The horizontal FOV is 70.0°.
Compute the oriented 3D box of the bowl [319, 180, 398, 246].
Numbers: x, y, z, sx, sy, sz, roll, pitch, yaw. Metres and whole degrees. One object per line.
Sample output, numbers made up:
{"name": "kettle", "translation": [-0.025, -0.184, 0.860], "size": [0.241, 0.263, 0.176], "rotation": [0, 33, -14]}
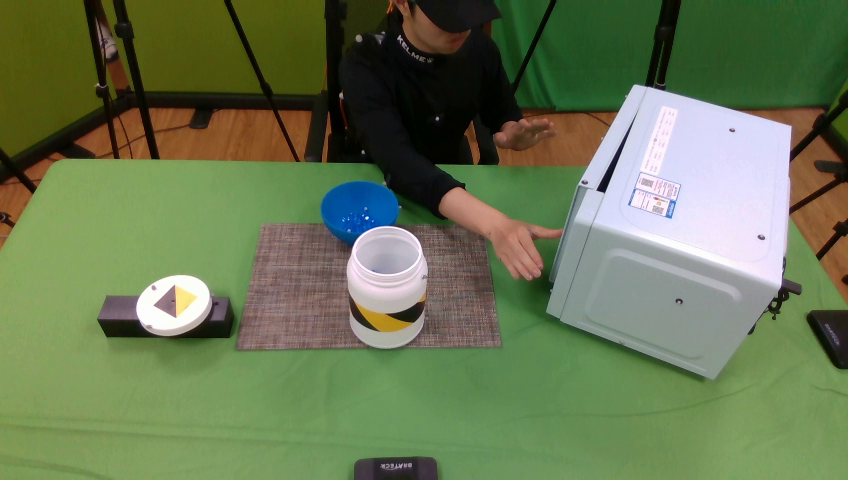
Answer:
{"name": "bowl", "translation": [-0.126, -0.039, 1.180], "size": [0.151, 0.077, 0.150], "rotation": [3, 46, -2]}

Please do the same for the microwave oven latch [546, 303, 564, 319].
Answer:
{"name": "microwave oven latch", "translation": [0.242, 0.102, 1.081], "size": [0.030, 0.029, 0.079], "rotation": [21, 48, 17]}

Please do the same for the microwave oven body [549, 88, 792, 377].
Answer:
{"name": "microwave oven body", "translation": [0.456, -0.028, 1.088], "size": [0.325, 0.261, 0.440], "rotation": [20, 47, 16]}

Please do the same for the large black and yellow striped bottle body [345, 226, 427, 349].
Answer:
{"name": "large black and yellow striped bottle body", "translation": [-0.062, 0.078, 0.998], "size": [0.131, 0.185, 0.130], "rotation": [2, 46, -2]}

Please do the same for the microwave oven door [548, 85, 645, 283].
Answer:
{"name": "microwave oven door", "translation": [0.334, -0.110, 1.151], "size": [0.039, 0.245, 0.355], "rotation": [23, 49, 17]}

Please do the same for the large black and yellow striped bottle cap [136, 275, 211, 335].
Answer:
{"name": "large black and yellow striped bottle cap", "translation": [-0.412, 0.105, 0.998], "size": [0.115, 0.019, 0.114], "rotation": [3, 46, -3]}
